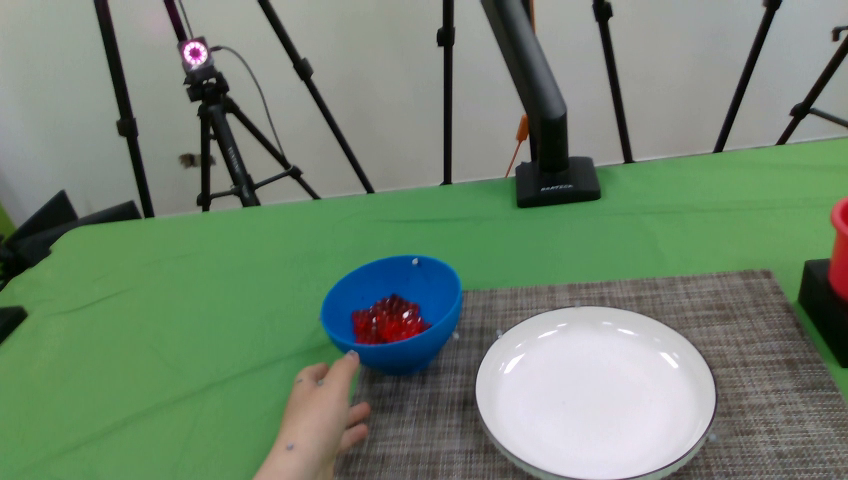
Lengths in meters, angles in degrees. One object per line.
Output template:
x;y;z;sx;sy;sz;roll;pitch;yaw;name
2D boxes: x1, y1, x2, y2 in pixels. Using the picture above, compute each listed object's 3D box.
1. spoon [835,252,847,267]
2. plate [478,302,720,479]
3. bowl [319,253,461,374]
0.411;0.001;0.485;0.041;0.021;0.194;-18;-11;-8;spoon
0.154;0.136;0.550;0.207;0.039;0.205;-9;32;6;plate
-0.028;0.088;0.647;0.151;0.077;0.150;-9;33;6;bowl
